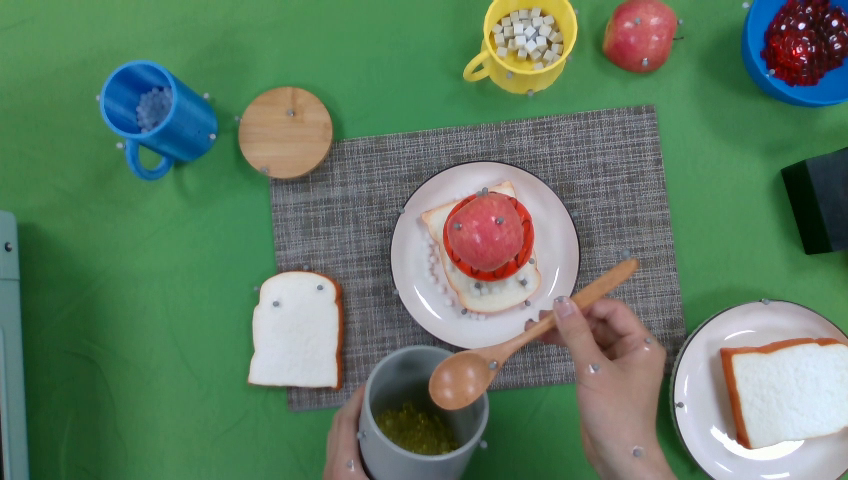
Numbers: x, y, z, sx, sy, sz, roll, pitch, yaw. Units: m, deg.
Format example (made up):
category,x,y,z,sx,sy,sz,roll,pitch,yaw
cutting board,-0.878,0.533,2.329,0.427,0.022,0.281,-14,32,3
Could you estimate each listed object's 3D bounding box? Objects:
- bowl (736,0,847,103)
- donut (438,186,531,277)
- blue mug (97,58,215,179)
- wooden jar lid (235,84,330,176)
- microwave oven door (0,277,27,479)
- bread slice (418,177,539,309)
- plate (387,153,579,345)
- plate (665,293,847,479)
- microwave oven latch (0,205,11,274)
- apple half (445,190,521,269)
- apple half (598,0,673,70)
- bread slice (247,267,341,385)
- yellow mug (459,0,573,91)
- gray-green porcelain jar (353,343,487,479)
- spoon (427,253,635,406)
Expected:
category,x,y,z,sx,sy,sz,roll,pitch,yaw
bowl,0.403,-0.213,0.653,0.151,0.077,0.151,0,86,3
donut,0.065,-0.009,0.642,0.099,0.048,0.099,0,86,3
blue mug,-0.294,-0.124,0.664,0.082,0.106,0.116,14,87,4
wooden jar lid,-0.161,-0.125,0.698,0.108,0.021,0.108,0,83,4
microwave oven door,-0.469,0.209,0.562,0.039,0.244,0.355,-6,85,2
bread slice,0.068,0.008,0.671,0.107,0.018,0.134,-23,84,2
plate,0.063,0.010,0.669,0.207,0.039,0.207,0,86,3
plate,0.361,0.161,0.648,0.209,0.038,0.208,0,86,3
microwave oven latch,-0.484,-0.001,0.679,0.030,0.029,0.079,-3,86,2
apple half,0.060,-0.011,0.606,0.081,0.033,0.081,-1,84,10
apple half,0.238,-0.238,0.675,0.074,0.053,0.080,16,87,6
bread slice,-0.146,0.096,0.683,0.105,0.019,0.131,1,87,2
yellow mug,0.096,-0.217,0.673,0.131,0.064,0.099,-30,85,1
gray-green porcelain jar,-0.009,0.171,0.546,0.106,0.127,0.105,7,47,-7
spoon,0.083,0.070,0.474,0.194,0.022,0.041,-36,84,15
